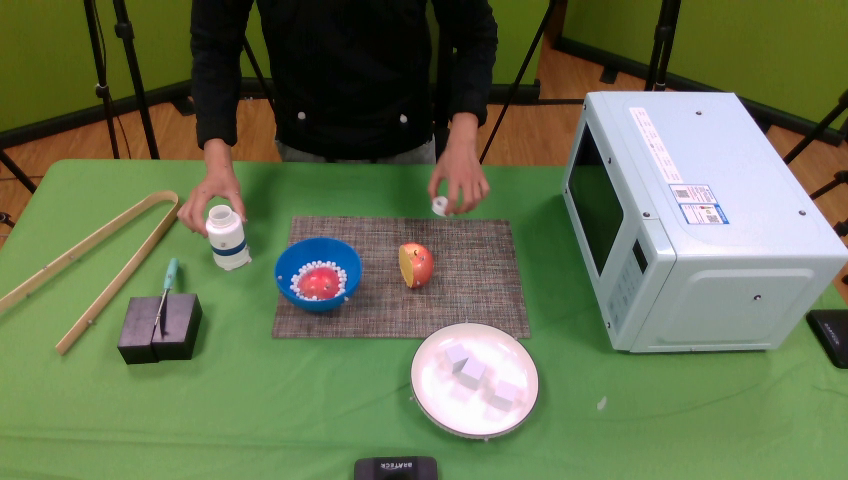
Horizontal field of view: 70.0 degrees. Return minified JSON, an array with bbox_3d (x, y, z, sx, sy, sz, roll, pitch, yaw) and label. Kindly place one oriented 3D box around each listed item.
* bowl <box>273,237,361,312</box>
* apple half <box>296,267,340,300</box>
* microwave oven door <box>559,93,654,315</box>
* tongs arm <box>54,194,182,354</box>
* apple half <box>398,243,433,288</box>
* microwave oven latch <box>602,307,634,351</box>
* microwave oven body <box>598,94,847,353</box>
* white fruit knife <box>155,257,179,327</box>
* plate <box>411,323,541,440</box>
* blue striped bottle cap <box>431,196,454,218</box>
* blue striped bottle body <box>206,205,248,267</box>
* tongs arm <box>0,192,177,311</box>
[{"bbox_3d":[-0.186,0.075,1.069,0.151,0.077,0.150,3,45,-3],"label":"bowl"},{"bbox_3d":[-0.186,0.071,1.067,0.081,0.033,0.081,2,47,-2],"label":"apple half"},{"bbox_3d":[0.327,-0.074,1.123,0.039,0.245,0.353,-1,46,-5],"label":"microwave oven door"},{"bbox_3d":[-0.543,0.048,1.107,0.028,0.028,0.385,11,46,10],"label":"tongs arm"},{"bbox_3d":[-0.012,0.046,1.115,0.053,0.075,0.080,-11,43,-19],"label":"apple half"},{"bbox_3d":[0.332,0.153,1.044,0.030,0.029,0.078,-1,45,-4],"label":"microwave oven latch"},{"bbox_3d":[0.475,-0.041,1.109,0.326,0.261,0.438,-1,45,-4],"label":"microwave oven body"},{"bbox_3d":[-0.440,0.085,1.037,0.016,0.027,0.206,10,26,-19],"label":"white fruit knife"},{"bbox_3d":[0.082,0.228,0.976,0.208,0.039,0.206,2,45,-2],"label":"plate"},{"bbox_3d":[0.037,-0.064,1.171,0.044,0.021,0.044,3,40,-3],"label":"blue striped bottle cap"},{"bbox_3d":[-0.361,-0.010,1.110,0.063,0.121,0.062,4,49,-4],"label":"blue striped bottle body"},{"bbox_3d":[-0.618,0.019,1.123,0.050,0.026,0.384,24,47,17],"label":"tongs arm"}]
